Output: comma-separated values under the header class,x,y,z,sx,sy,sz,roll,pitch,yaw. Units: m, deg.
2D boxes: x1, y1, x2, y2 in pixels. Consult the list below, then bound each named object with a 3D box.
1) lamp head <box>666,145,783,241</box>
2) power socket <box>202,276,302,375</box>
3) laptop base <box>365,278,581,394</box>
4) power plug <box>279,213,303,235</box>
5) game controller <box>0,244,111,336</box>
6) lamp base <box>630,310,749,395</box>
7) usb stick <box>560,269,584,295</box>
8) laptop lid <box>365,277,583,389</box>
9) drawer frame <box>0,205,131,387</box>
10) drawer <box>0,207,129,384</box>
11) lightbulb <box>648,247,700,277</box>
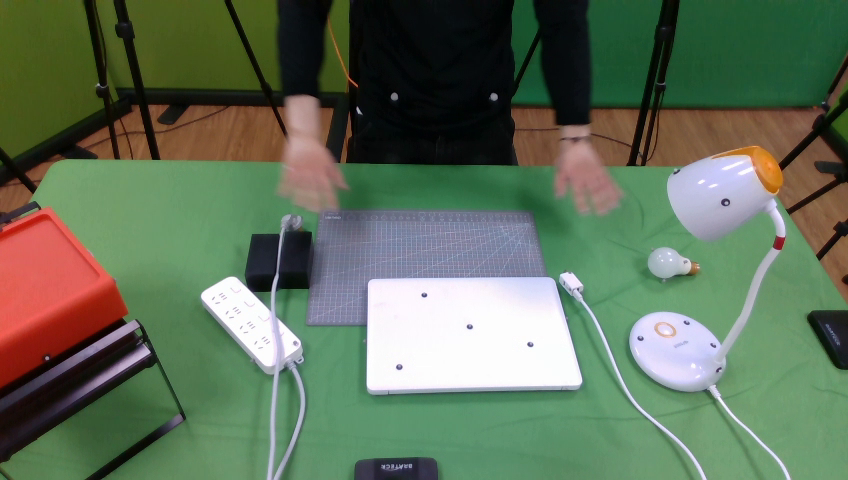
class,x,y,z,sx,sy,sz,roll,pitch,yaw
lamp head,0.408,-0.067,0.806,0.113,0.123,0.112,15,63,-32
power socket,-0.296,0.142,1.034,0.072,0.033,0.225,-34,58,-30
laptop base,0.077,0.162,1.053,0.355,0.023,0.234,0,44,-4
power plug,-0.264,-0.021,1.184,0.035,0.053,0.072,-1,48,32
game controller,-0.510,0.062,0.830,0.097,0.052,0.154,-30,58,-30
lamp base,0.447,0.142,0.984,0.161,0.181,0.178,-24,55,-24
usb stick,0.275,0.077,1.142,0.027,0.021,0.059,-12,38,-12
laptop lid,0.077,0.152,1.046,0.357,0.013,0.240,1,45,-3
drawer frame,-0.539,0.075,0.795,0.200,0.083,0.213,36,54,26
drawer,-0.539,0.074,0.798,0.193,0.073,0.211,37,55,27
lightbulb,0.485,0.046,1.170,0.108,0.060,0.059,10,45,-15
